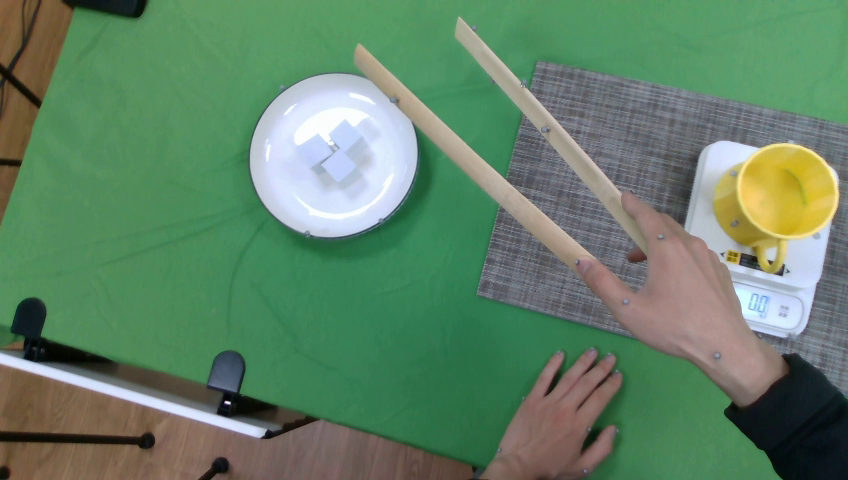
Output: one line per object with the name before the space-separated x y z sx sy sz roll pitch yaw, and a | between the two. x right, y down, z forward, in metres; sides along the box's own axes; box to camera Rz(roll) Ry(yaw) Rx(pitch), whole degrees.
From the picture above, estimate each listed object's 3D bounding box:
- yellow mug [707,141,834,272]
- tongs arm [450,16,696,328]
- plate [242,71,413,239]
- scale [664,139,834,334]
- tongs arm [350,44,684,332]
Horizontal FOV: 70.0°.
yellow mug | 0.361 -0.032 0.637 0.100 0.064 0.130 4 83 5
tongs arm | 0.115 -0.084 0.564 0.051 0.027 0.381 -23 63 -28
plate | -0.115 -0.101 0.740 0.207 0.039 0.207 -1 82 5
scale | 0.364 -0.006 0.681 0.148 0.032 0.200 14 84 8
tongs arm | 0.060 -0.056 0.532 0.028 0.028 0.385 -31 66 -35
